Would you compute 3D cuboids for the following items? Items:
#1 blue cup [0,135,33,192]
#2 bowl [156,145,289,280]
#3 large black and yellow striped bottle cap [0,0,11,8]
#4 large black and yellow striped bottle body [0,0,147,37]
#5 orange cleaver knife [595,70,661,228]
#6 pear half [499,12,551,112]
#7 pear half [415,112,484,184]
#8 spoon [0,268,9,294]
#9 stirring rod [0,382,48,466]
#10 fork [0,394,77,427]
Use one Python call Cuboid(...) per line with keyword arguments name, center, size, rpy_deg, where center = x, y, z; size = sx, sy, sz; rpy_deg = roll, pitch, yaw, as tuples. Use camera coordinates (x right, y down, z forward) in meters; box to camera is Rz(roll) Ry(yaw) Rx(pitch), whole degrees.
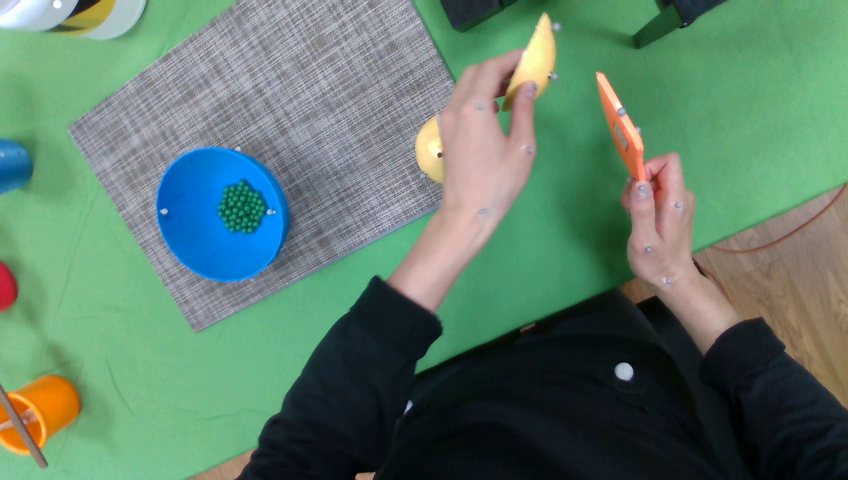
Cuboid(name="blue cup", center=(-0.541, -0.092, 0.737), size=(0.092, 0.100, 0.093), rpy_deg=(2, 105, 10))
Cuboid(name="bowl", center=(-0.215, -0.036, 0.693), size=(0.151, 0.076, 0.152), rpy_deg=(3, 105, 12))
Cuboid(name="large black and yellow striped bottle cap", center=(-0.406, -0.263, 0.533), size=(0.115, 0.019, 0.115), rpy_deg=(3, 106, 12))
Cuboid(name="large black and yellow striped bottle body", center=(-0.390, -0.282, 0.613), size=(0.130, 0.183, 0.131), rpy_deg=(3, 104, 11))
Cuboid(name="orange cleaver knife", center=(0.182, -0.072, 0.534), size=(0.012, 0.213, 0.076), rpy_deg=(-28, 60, 14))
Cuboid(name="pear half", center=(0.091, -0.146, 0.513), size=(0.031, 0.070, 0.088), rpy_deg=(23, 135, 2))
Cuboid(name="pear half", center=(0.019, -0.086, 0.614), size=(0.076, 0.110, 0.056), rpy_deg=(45, 108, 3))
Cuboid(name="spoon", center=(-0.646, 0.086, 0.785), size=(0.194, 0.021, 0.042), rpy_deg=(-27, 101, -27))
Cuboid(name="stirring rod", center=(-0.541, 0.221, 0.792), size=(0.014, 0.006, 0.176), rpy_deg=(-22, 99, 15))
Cuboid(name="fork", center=(-0.581, 0.249, 0.810), size=(0.208, 0.018, 0.028), rpy_deg=(-16, 115, -29))
